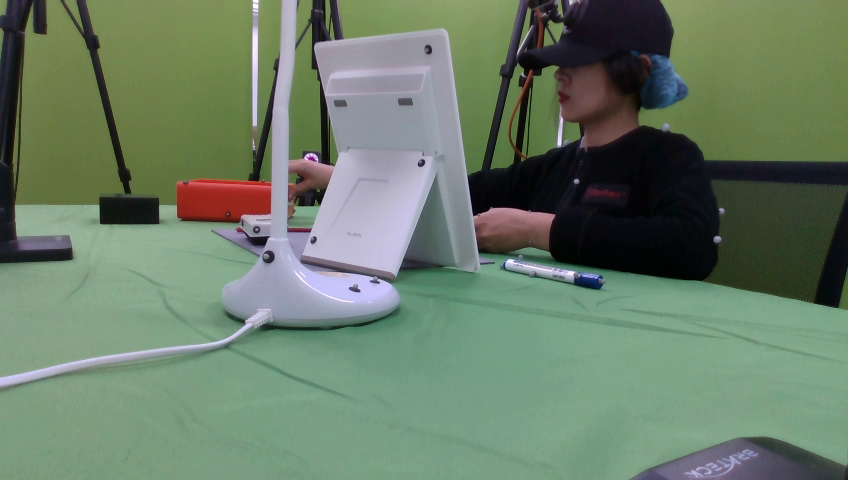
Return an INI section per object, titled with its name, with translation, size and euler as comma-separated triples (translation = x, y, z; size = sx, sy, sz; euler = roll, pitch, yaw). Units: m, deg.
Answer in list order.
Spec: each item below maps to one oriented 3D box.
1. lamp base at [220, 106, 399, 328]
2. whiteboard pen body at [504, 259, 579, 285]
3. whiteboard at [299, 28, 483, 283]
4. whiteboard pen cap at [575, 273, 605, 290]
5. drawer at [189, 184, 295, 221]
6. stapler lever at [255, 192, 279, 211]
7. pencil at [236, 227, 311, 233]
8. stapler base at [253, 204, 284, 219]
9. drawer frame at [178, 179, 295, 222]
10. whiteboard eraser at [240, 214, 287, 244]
[lamp base]
translation = -0.101, -0.023, 0.531
size = 0.160, 0.180, 0.179
euler = 4, 10, 10
[whiteboard pen body]
translation = 0.157, 0.042, 0.764
size = 0.017, 0.017, 0.140
euler = -4, 10, -41
[whiteboard]
translation = -0.075, -0.082, 0.741
size = 0.216, 0.305, 0.144
euler = 9, 30, 38
[whiteboard pen cap]
translation = 0.197, 0.048, 0.719
size = 0.018, 0.018, 0.033
euler = -4, 11, -41
[drawer]
translation = -0.394, -0.087, 1.317
size = 0.212, 0.073, 0.194
euler = 1, 8, -7
[stapler lever]
translation = -0.338, -0.088, 1.305
size = 0.027, 0.040, 0.118
euler = 1, 11, -1
[pencil]
translation = -0.239, -0.017, 1.093
size = 0.195, 0.012, 0.012
euler = 1, 7, -27
[stapler base]
translation = -0.337, -0.065, 1.308
size = 0.041, 0.024, 0.130
euler = 1, 9, -1
[drawer frame]
translation = -0.397, -0.088, 1.315
size = 0.214, 0.082, 0.201
euler = 1, 8, -7
[whiteboard eraser]
translation = -0.256, -0.018, 0.958
size = 0.056, 0.042, 0.112
euler = 0, 8, -25
